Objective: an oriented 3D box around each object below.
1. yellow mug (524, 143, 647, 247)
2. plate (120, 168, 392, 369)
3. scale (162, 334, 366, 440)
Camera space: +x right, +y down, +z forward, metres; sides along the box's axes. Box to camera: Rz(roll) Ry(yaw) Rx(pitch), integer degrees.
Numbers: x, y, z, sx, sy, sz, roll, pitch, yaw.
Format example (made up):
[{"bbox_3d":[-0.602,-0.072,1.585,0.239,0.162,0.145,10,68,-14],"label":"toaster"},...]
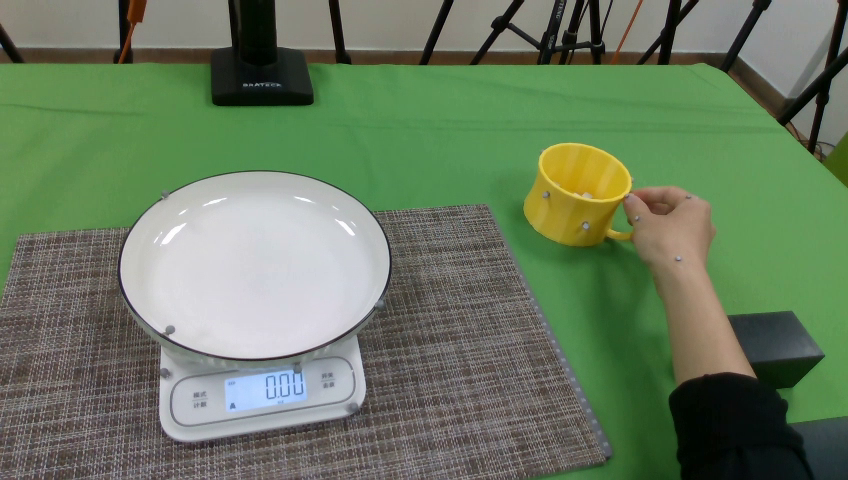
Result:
[{"bbox_3d":[0.178,-0.042,0.651,0.130,0.064,0.100,32,47,18],"label":"yellow mug"},{"bbox_3d":[-0.131,0.020,0.495,0.209,0.038,0.207,6,45,-6],"label":"plate"},{"bbox_3d":[-0.134,0.060,0.501,0.149,0.032,0.198,-4,47,-15],"label":"scale"}]
